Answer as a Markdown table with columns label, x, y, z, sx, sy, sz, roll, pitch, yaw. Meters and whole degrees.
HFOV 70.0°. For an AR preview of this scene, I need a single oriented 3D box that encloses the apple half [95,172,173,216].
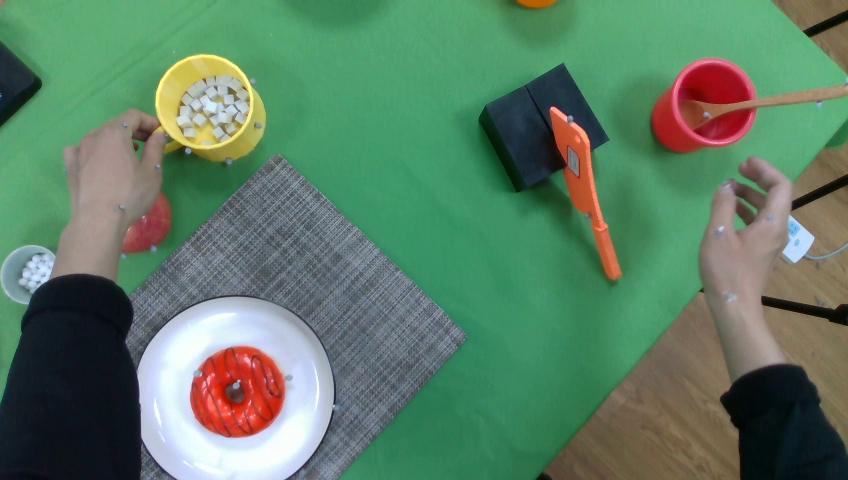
| label | x | y | z | sx | sy | sz | roll | pitch | yaw |
| --- | --- | --- | --- | --- | --- | --- | --- | --- | --- |
| apple half | -0.298 | -0.053 | 0.638 | 0.081 | 0.081 | 0.033 | 23 | 89 | -2 |

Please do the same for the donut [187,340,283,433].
| label | x | y | z | sx | sy | sz | roll | pitch | yaw |
| --- | --- | --- | --- | --- | --- | --- | --- | --- | --- |
| donut | -0.197 | 0.154 | 0.637 | 0.099 | 0.048 | 0.099 | 0 | 89 | -5 |

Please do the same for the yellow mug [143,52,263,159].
| label | x | y | z | sx | sy | sz | roll | pitch | yaw |
| --- | --- | --- | --- | --- | --- | --- | --- | --- | --- |
| yellow mug | -0.243 | -0.134 | 0.651 | 0.131 | 0.064 | 0.100 | -35 | 90 | -5 |

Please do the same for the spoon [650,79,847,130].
| label | x | y | z | sx | sy | sz | roll | pitch | yaw |
| --- | --- | --- | --- | --- | --- | --- | --- | --- | --- |
| spoon | 0.347 | -0.151 | 0.660 | 0.192 | 0.022 | 0.041 | -3 | 80 | 39 |

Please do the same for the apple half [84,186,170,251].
| label | x | y | z | sx | sy | sz | roll | pitch | yaw |
| --- | --- | --- | --- | --- | --- | --- | --- | --- | --- |
| apple half | -0.315 | -0.017 | 0.636 | 0.081 | 0.074 | 0.053 | 23 | 89 | -6 |

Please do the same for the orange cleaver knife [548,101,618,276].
| label | x | y | z | sx | sy | sz | roll | pitch | yaw |
| --- | --- | --- | --- | --- | --- | --- | --- | --- | --- |
| orange cleaver knife | 0.175 | -0.053 | 0.669 | 0.012 | 0.076 | 0.213 | -27 | 121 | -4 |

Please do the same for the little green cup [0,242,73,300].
| label | x | y | z | sx | sy | sz | roll | pitch | yaw |
| --- | --- | --- | --- | --- | --- | --- | --- | --- | --- |
| little green cup | -0.408 | 0.034 | 0.642 | 0.061 | 0.038 | 0.061 | 0 | 86 | -4 |

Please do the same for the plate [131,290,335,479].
| label | x | y | z | sx | sy | sz | roll | pitch | yaw |
| --- | --- | --- | --- | --- | --- | --- | --- | --- | --- |
| plate | -0.199 | 0.157 | 0.648 | 0.209 | 0.038 | 0.208 | 0 | 87 | -4 |
